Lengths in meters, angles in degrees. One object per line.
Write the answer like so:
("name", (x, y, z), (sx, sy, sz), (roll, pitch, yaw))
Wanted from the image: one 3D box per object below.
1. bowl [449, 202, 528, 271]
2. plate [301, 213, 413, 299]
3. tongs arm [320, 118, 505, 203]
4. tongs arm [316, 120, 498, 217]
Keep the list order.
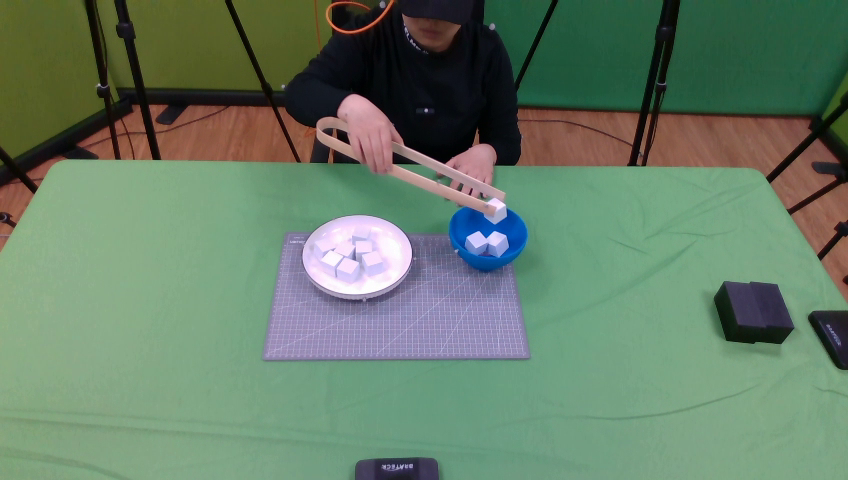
("bowl", (0.118, 0.006, 1.160), (0.151, 0.077, 0.150), (2, 46, -2))
("plate", (-0.124, 0.033, 1.143), (0.208, 0.039, 0.206), (2, 46, -2))
("tongs arm", (-0.025, -0.153, 1.157), (0.387, 0.028, 0.028), (24, 52, 9))
("tongs arm", (-0.037, -0.136, 1.139), (0.384, 0.026, 0.050), (22, 49, 7))
